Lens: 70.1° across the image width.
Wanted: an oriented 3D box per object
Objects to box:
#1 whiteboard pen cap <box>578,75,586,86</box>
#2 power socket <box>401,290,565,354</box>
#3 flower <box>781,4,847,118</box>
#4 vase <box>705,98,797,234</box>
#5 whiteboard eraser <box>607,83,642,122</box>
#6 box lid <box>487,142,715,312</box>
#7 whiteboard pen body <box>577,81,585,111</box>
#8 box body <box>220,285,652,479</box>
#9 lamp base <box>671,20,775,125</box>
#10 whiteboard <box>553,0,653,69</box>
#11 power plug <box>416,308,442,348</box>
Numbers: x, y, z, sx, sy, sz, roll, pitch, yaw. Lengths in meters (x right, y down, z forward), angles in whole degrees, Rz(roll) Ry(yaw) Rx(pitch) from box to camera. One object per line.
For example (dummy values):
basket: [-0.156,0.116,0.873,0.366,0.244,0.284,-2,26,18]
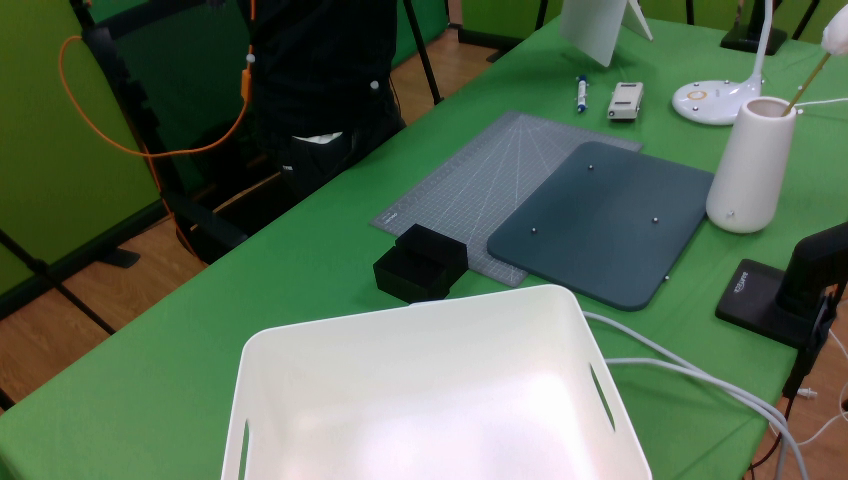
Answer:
whiteboard pen cap: [0.349,-0.351,1.334,0.018,0.018,0.033,3,39,12]
power socket: [0.079,0.111,0.823,0.227,0.033,0.072,-6,41,1]
flower: [0.480,-0.157,0.823,0.044,0.362,0.038,-8,56,-9]
vase: [0.481,-0.104,0.888,0.098,0.201,0.097,-4,42,4]
whiteboard eraser: [0.406,-0.277,1.222,0.055,0.042,0.112,10,43,21]
box lid: [0.299,-0.041,0.986,0.261,0.015,0.372,23,49,30]
whiteboard pen body: [0.335,-0.313,1.292,0.017,0.017,0.140,3,40,12]
box body: [0.005,0.211,0.616,0.364,0.161,0.252,-9,40,-2]
lamp base: [0.582,-0.332,1.154,0.179,0.181,0.160,2,41,7]
whiteboard: [0.431,-0.562,1.321,0.145,0.306,0.215,-8,40,-20]
power plug: [0.004,0.121,0.786,0.035,0.053,0.072,1,46,8]
